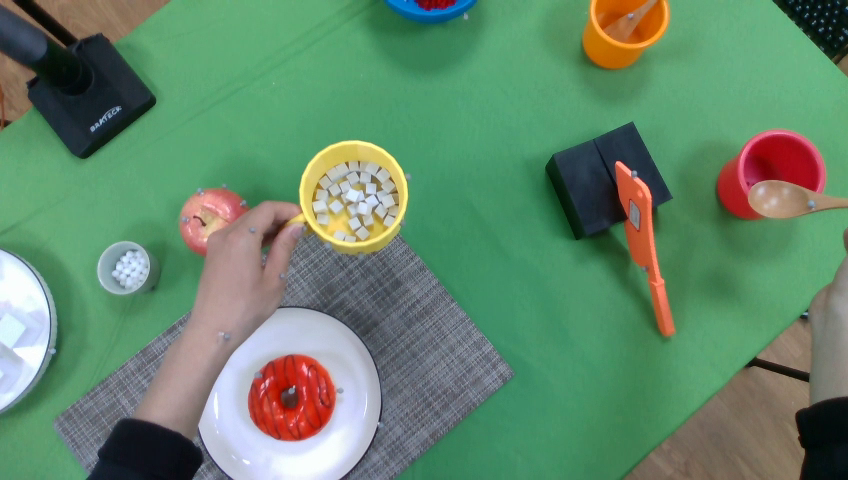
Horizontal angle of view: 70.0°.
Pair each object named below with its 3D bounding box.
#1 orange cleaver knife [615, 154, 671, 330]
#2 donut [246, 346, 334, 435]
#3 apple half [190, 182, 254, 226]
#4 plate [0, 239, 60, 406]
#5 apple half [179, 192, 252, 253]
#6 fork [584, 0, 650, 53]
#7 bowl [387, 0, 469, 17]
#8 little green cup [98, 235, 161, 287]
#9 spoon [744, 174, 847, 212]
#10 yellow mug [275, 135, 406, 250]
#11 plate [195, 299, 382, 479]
[{"bbox_3d":[0.246,0.005,0.684,0.012,0.076,0.213,-20,115,-1],"label":"orange cleaver knife"},{"bbox_3d":[-0.149,0.168,0.677,0.099,0.048,0.099,0,85,1],"label":"donut"},{"bbox_3d":[-0.226,-0.047,0.702,0.081,0.081,0.033,30,87,5],"label":"apple half"},{"bbox_3d":[-0.523,0.098,0.704,0.208,0.039,0.207,0,83,0],"label":"plate"},{"bbox_3d":[-0.245,-0.013,0.699,0.081,0.074,0.053,30,88,1],"label":"apple half"},{"bbox_3d":[0.270,-0.288,0.690,0.207,0.019,0.028,-37,78,40],"label":"fork"},{"bbox_3d":[0.006,-0.331,0.734,0.151,0.077,0.151,0,83,1],"label":"bowl"},{"bbox_3d":[-0.343,0.027,0.711,0.061,0.039,0.061,0,82,1],"label":"little green cup"},{"bbox_3d":[0.402,-0.037,0.558,0.192,0.022,0.041,10,70,40],"label":"spoon"},{"bbox_3d":[-0.082,-0.036,0.580,0.131,0.064,0.100,-27,86,-7],"label":"yellow mug"},{"bbox_3d":[-0.150,0.171,0.687,0.209,0.038,0.208,0,83,1],"label":"plate"}]
